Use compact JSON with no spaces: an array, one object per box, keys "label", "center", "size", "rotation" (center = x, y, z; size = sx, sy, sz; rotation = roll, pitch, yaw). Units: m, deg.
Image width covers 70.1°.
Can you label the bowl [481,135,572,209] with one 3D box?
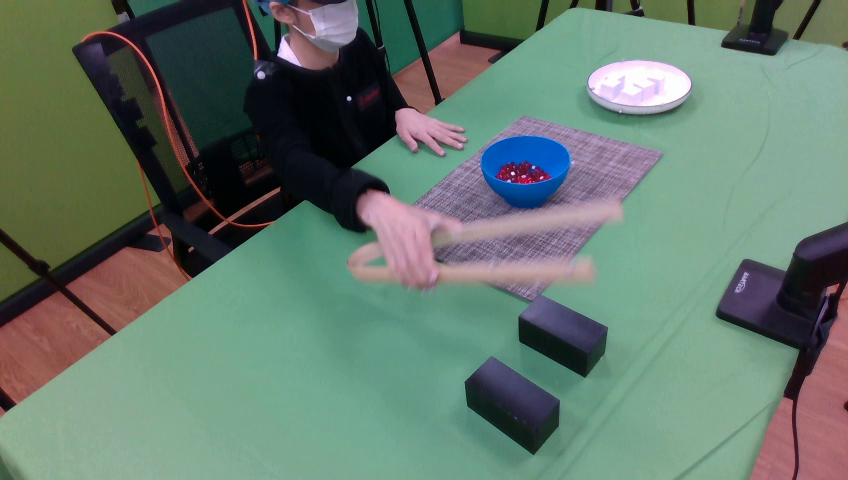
[{"label":"bowl","center":[0.172,-0.106,1.025],"size":[0.151,0.077,0.150],"rotation":[-4,40,4]}]

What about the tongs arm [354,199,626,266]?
[{"label":"tongs arm","center":[0.068,-0.007,0.795],"size":[0.385,0.028,0.028],"rotation":[-10,35,32]}]

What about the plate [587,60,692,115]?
[{"label":"plate","center":[0.445,-0.313,1.263],"size":[0.209,0.038,0.208],"rotation":[-5,40,4]}]

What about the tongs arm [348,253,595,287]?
[{"label":"tongs arm","center":[0.036,0.033,0.749],"size":[0.382,0.027,0.051],"rotation":[-4,35,40]}]
